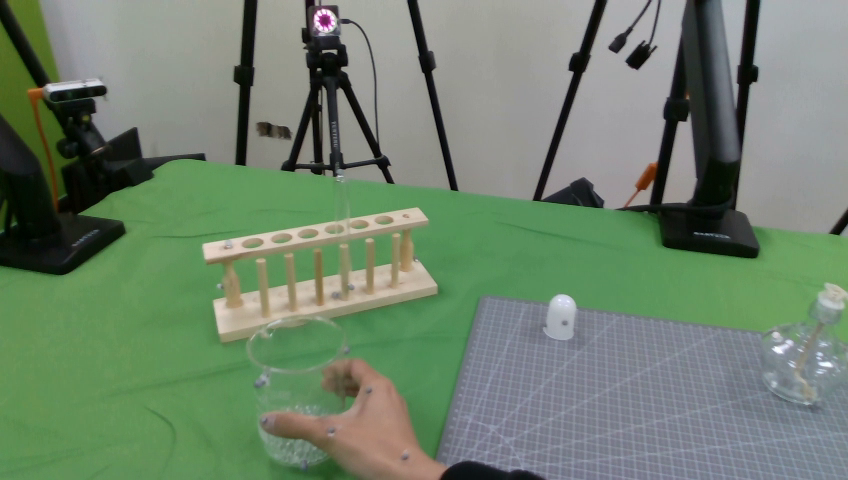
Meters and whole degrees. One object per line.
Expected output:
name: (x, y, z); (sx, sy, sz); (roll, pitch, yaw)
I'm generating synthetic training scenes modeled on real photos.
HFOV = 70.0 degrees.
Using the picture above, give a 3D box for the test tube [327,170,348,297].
test tube: (-0.091, -0.004, 0.640); (0.017, 0.151, 0.017); (1, 31, 0)

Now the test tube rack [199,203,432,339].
test tube rack: (-0.114, 0.029, 0.673); (0.243, 0.086, 0.066); (-11, 33, -20)

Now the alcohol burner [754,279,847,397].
alcohol burner: (0.351, 0.085, 0.555); (0.078, 0.120, 0.077); (2, 31, -1)

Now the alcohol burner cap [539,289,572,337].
alcohol burner cap: (0.140, 0.074, 0.639); (0.034, 0.048, 0.033); (1, 30, 0)

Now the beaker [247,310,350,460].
beaker: (-0.100, 0.116, 0.482); (0.083, 0.101, 0.074); (22, 33, 34)
